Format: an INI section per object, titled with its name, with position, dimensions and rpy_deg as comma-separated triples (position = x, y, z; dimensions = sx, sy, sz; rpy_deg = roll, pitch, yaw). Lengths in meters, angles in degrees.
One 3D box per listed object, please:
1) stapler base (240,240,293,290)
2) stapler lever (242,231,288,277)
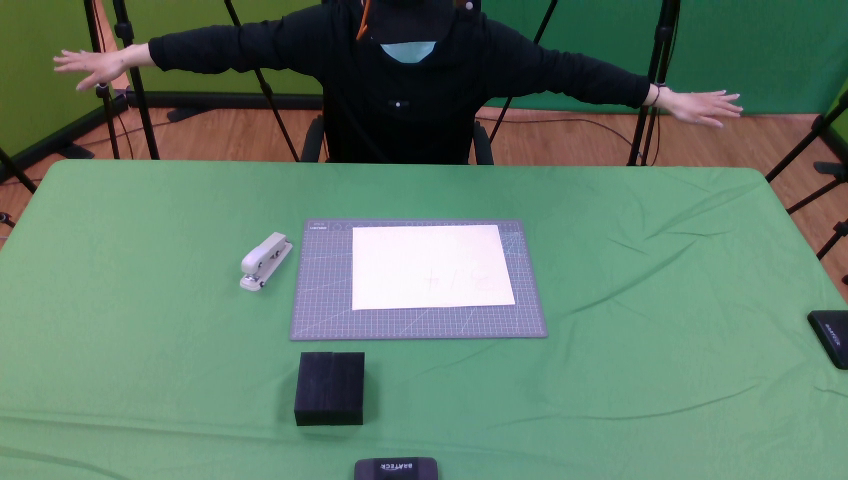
[stapler base]
position = -0.296, 0.038, 1.135
dimensions = 0.041, 0.024, 0.130
rpy_deg = 20, 47, 11
[stapler lever]
position = -0.294, 0.020, 1.118
dimensions = 0.027, 0.040, 0.117
rpy_deg = 20, 46, 11
